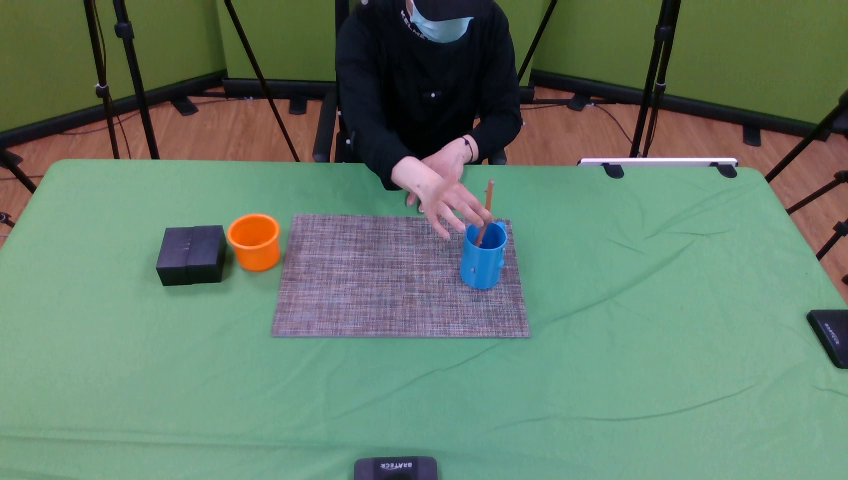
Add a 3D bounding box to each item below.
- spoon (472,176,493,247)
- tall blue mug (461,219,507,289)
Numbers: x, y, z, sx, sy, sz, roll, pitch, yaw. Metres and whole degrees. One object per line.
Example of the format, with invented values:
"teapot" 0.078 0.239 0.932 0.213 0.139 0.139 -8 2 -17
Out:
"spoon" 0.103 -0.028 1.057 0.022 0.194 0.041 4 36 -9
"tall blue mug" 0.111 0.016 1.122 0.078 0.108 0.106 6 46 4
